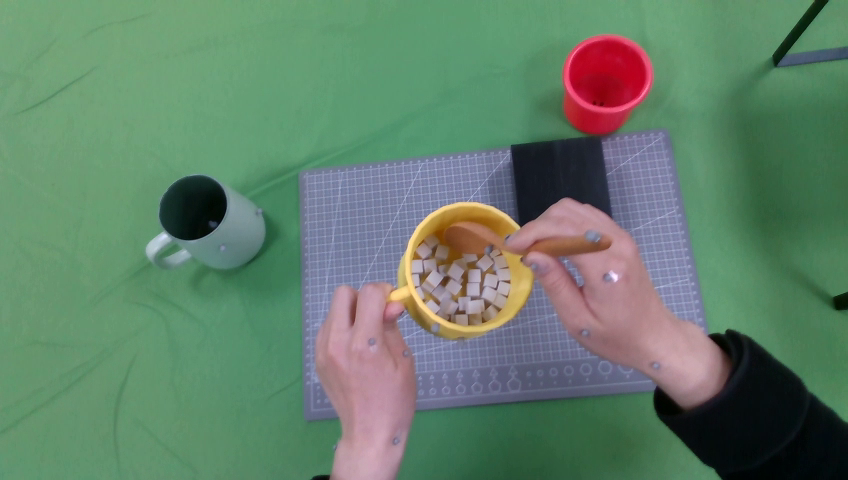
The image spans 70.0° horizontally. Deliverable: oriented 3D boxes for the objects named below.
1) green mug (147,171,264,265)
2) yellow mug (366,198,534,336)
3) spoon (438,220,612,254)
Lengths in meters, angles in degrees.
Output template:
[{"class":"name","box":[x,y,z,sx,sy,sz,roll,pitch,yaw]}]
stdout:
[{"class":"green mug","box":[-0.254,-0.014,0.691,0.125,0.105,0.092,-37,75,-5]},{"class":"yellow mug","box":[0.016,0.029,0.476,0.131,0.064,0.099,-23,81,-11]},{"class":"spoon","box":[0.060,0.000,0.405,0.042,0.192,0.021,32,81,-20]}]
